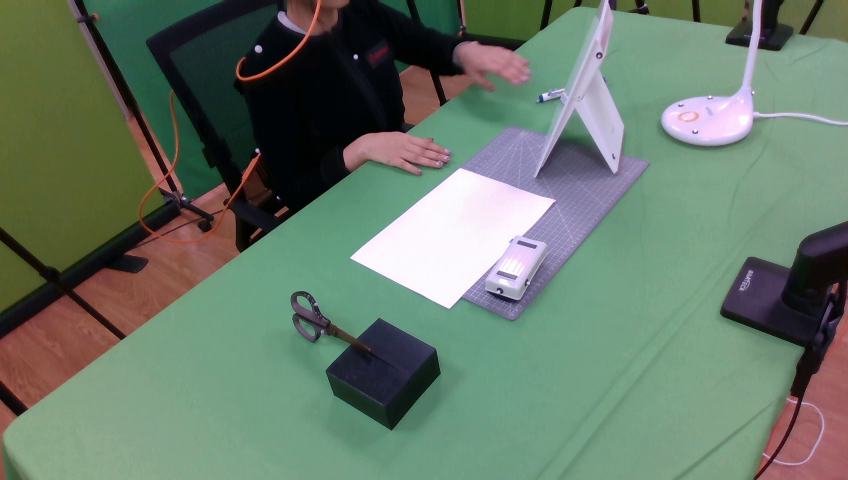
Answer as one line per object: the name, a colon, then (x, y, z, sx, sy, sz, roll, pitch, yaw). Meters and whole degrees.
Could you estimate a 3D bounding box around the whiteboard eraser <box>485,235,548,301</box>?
whiteboard eraser: (0.137, 0.042, 0.887, 0.055, 0.042, 0.113, 15, 46, 27)

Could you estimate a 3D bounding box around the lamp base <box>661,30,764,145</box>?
lamp base: (0.535, -0.287, 1.096, 0.179, 0.181, 0.159, -10, 40, -4)

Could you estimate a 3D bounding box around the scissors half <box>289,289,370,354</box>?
scissors half: (-0.128, 0.110, 0.808, 0.013, 0.040, 0.173, -17, 36, -43)

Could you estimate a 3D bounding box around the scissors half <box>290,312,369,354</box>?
scissors half: (-0.128, 0.129, 0.816, 0.013, 0.040, 0.173, -23, 22, -40)

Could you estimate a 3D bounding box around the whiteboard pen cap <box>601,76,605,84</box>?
whiteboard pen cap: (0.372, -0.340, 1.305, 0.033, 0.018, 0.018, -17, 41, -1)

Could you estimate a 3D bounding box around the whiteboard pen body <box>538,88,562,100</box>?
whiteboard pen body: (0.315, -0.324, 1.303, 0.141, 0.017, 0.017, -15, 41, -3)

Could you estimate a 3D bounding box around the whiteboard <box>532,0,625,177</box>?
whiteboard: (0.320, -0.259, 1.050, 0.144, 0.306, 0.217, 21, 45, 5)
